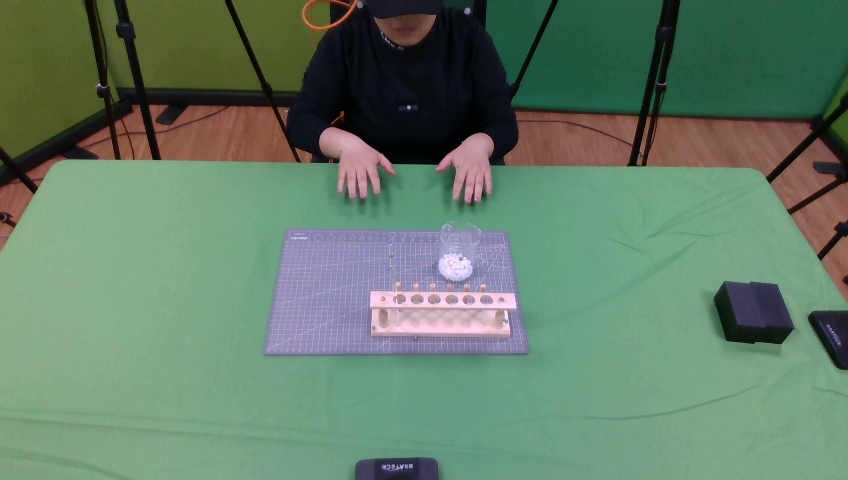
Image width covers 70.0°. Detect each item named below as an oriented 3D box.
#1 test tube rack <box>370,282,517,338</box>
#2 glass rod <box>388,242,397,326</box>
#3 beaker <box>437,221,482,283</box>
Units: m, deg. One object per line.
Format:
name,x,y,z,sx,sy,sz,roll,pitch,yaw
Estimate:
test tube rack,0.030,0.116,1.041,0.242,0.085,0.066,1,46,-3
glass rod,-0.051,0.076,0.981,0.008,0.201,0.008,0,44,1
beaker,0.064,0.024,1.124,0.084,0.101,0.073,-13,49,-17
